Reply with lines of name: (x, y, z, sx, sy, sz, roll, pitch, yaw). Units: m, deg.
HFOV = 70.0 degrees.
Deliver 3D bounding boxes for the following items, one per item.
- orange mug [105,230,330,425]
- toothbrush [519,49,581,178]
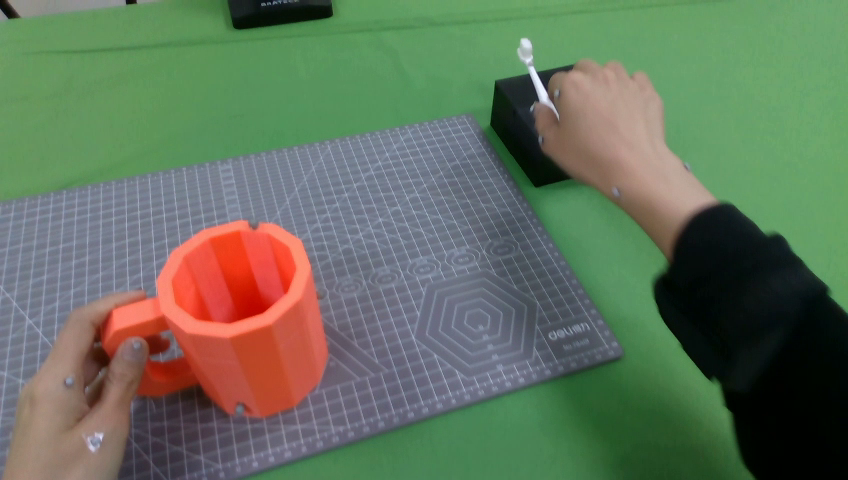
orange mug: (-0.125, 0.061, 0.380, 0.126, 0.101, 0.082, -14, 49, -19)
toothbrush: (0.111, -0.119, 0.544, 0.014, 0.017, 0.180, -3, 48, -8)
